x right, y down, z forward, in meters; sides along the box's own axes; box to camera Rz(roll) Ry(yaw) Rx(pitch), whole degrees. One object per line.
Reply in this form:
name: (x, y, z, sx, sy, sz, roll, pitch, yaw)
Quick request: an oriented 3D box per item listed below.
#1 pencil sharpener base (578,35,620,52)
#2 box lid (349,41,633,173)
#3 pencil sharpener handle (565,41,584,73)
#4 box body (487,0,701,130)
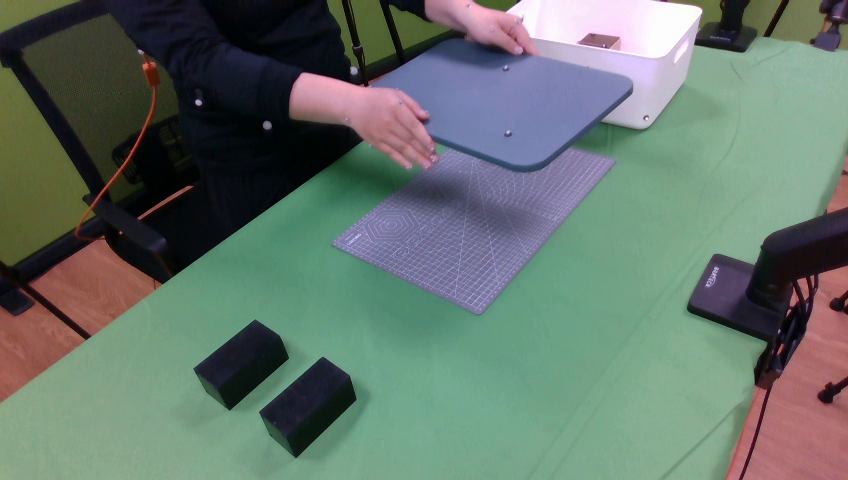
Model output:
pencil sharpener base: (0.362, -0.368, 1.273, 0.076, 0.107, 0.061, 20, 48, 30)
box lid: (0.091, -0.214, 0.903, 0.368, 0.015, 0.264, 26, 53, 36)
pencil sharpener handle: (0.318, -0.391, 1.289, 0.030, 0.068, 0.036, 20, 40, 30)
box body: (0.345, -0.379, 1.257, 0.361, 0.161, 0.255, 20, 48, 29)
